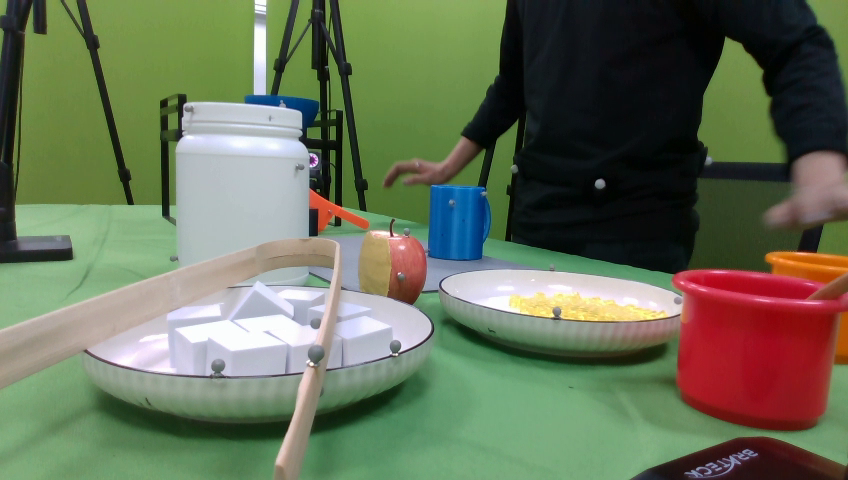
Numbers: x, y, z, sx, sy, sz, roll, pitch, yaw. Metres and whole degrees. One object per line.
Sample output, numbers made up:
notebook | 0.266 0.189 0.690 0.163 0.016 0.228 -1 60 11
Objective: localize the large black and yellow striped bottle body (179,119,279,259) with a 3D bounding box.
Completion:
large black and yellow striped bottle body | -0.271 -0.074 0.846 0.131 0.184 0.130 0 9 0

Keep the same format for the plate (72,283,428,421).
plate | -0.102 0.066 0.381 0.208 0.039 0.207 2 7 0

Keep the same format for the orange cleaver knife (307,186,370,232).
orange cleaver knife | -0.197 -0.056 1.141 0.212 0.077 0.012 29 0 -34

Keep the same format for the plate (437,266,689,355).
plate | 0.114 0.057 0.518 0.209 0.038 0.209 3 7 0

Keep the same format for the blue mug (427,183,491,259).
blue mug | 0.060 -0.031 0.905 0.117 0.106 0.082 -4 10 -42

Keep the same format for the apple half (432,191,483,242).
apple half | 0.049 -0.037 0.904 0.081 0.081 0.033 3 14 3

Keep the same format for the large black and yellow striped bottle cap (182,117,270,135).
large black and yellow striped bottle cap | -0.272 -0.156 0.833 0.115 0.019 0.115 1 7 0

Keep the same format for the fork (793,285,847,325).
fork | 0.332 0.019 0.443 0.028 0.018 0.207 -3 -35 -16

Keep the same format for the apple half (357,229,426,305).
apple half | -0.026 0.028 0.570 0.053 0.074 0.080 3 2 -28

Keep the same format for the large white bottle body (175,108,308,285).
large white bottle body | -0.188 -0.042 0.630 0.131 0.184 0.130 2 8 0

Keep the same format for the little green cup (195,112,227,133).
little green cup | -0.412 -0.227 1.171 0.061 0.038 0.061 3 8 0

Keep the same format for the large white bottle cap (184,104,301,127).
large white bottle cap | -0.184 -0.126 0.618 0.115 0.018 0.115 2 8 0

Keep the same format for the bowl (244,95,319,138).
bowl | -0.293 -0.251 1.249 0.151 0.077 0.151 2 8 0

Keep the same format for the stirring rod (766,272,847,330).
stirring rod | 0.352 0.020 0.481 0.176 0.006 0.014 -40 -9 17

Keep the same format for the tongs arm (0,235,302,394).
tongs arm | -0.157 0.038 0.351 0.028 0.028 0.388 -3 8 11

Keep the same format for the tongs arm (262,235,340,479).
tongs arm | -0.074 0.039 0.349 0.051 0.026 0.384 -2 10 -3

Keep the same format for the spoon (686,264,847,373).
spoon | 0.214 0.032 0.328 0.042 0.021 0.193 -3 -35 -26
